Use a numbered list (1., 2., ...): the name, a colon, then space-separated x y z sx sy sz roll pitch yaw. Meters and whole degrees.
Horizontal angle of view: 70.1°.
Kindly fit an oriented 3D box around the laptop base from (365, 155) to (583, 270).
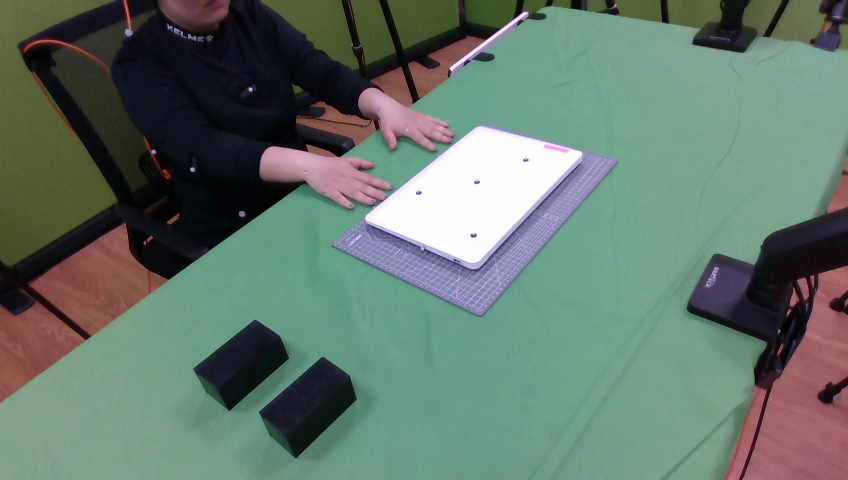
1. laptop base: 0.095 -0.086 1.059 0.233 0.023 0.355 20 47 33

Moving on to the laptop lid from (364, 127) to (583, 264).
1. laptop lid: 0.092 -0.096 1.053 0.239 0.013 0.358 23 48 34
